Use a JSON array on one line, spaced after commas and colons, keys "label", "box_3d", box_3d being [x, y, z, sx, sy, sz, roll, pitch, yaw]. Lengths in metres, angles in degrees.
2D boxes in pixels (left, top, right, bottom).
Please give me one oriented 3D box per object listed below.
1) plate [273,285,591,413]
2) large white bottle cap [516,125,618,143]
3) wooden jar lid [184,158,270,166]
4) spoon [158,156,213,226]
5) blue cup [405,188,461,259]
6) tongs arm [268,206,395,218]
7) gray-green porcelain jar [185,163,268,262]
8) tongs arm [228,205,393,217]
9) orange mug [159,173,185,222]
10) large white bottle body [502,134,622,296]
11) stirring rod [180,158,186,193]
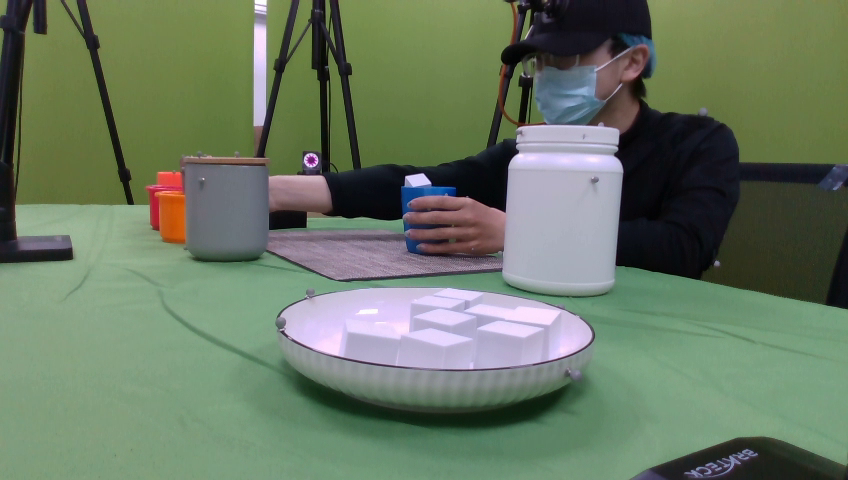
[{"label": "plate", "box_3d": [0.004, 0.069, 0.407, 0.208, 0.039, 0.207, 2, 7, 0]}, {"label": "large white bottle cap", "box_3d": [0.163, -0.120, 0.695, 0.115, 0.018, 0.115, 2, 7, 0]}, {"label": "wooden jar lid", "box_3d": [-0.260, -0.099, 0.801, 0.108, 0.020, 0.108, 0, 9, 0]}, {"label": "spoon", "box_3d": [-0.435, -0.094, 1.121, 0.041, 0.022, 0.193, 5, 51, 13]}, {"label": "blue cup", "box_3d": [0.010, -0.026, 0.921, 0.093, 0.100, 0.092, 4, 9, 0]}, {"label": "tongs arm", "box_3d": [-0.230, -0.064, 1.379, 0.387, 0.026, 0.050, -1, 2, -31]}, {"label": "gray-green porcelain jar", "box_3d": [-0.263, -0.038, 0.808, 0.106, 0.126, 0.106, 3, 8, 0]}, {"label": "tongs arm", "box_3d": [-0.267, -0.069, 1.453, 0.389, 0.027, 0.028, 0, -2, -18]}, {"label": "orange mug", "box_3d": [-0.477, -0.089, 1.241, 0.127, 0.101, 0.083, -7, 11, -33]}, {"label": "large white bottle body", "box_3d": [0.160, -0.037, 0.706, 0.131, 0.184, 0.130, 2, 7, 0]}, {"label": "stirring rod", "box_3d": [-0.380, -0.071, 0.980, 0.014, 0.006, 0.175, -5, 53, -24]}]
